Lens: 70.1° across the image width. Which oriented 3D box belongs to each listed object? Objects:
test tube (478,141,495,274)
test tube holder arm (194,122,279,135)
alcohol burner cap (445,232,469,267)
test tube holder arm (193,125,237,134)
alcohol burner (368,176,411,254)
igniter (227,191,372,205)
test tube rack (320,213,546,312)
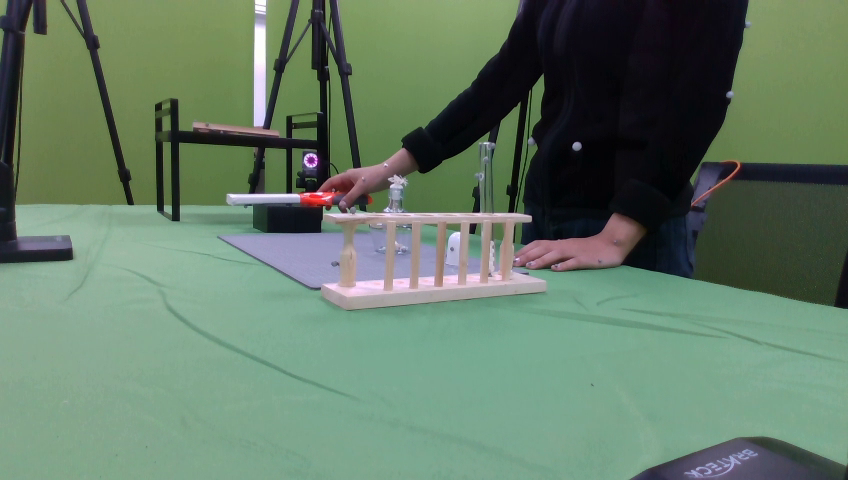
[{"bbox_3d":[0.071,-0.036,0.683,0.017,0.150,0.017,-2,8,1],"label":"test tube"},{"bbox_3d":[-0.401,-0.238,1.301,0.179,0.015,0.013,-2,-21,-29],"label":"test tube holder arm"},{"bbox_3d":[0.045,0.013,0.829,0.034,0.048,0.034,2,7,0],"label":"alcohol burner cap"},{"bbox_3d":[-0.443,-0.235,1.284,0.088,0.015,0.010,-2,-21,-28],"label":"test tube holder arm"},{"bbox_3d":[-0.045,-0.038,0.913,0.078,0.119,0.078,4,7,0],"label":"alcohol burner"},{"bbox_3d":[-0.232,-0.080,1.162,0.278,0.025,0.057,-2,15,-29],"label":"igniter"},{"bbox_3d":[0.018,0.017,0.638,0.244,0.085,0.066,-2,9,-31],"label":"test tube rack"}]
